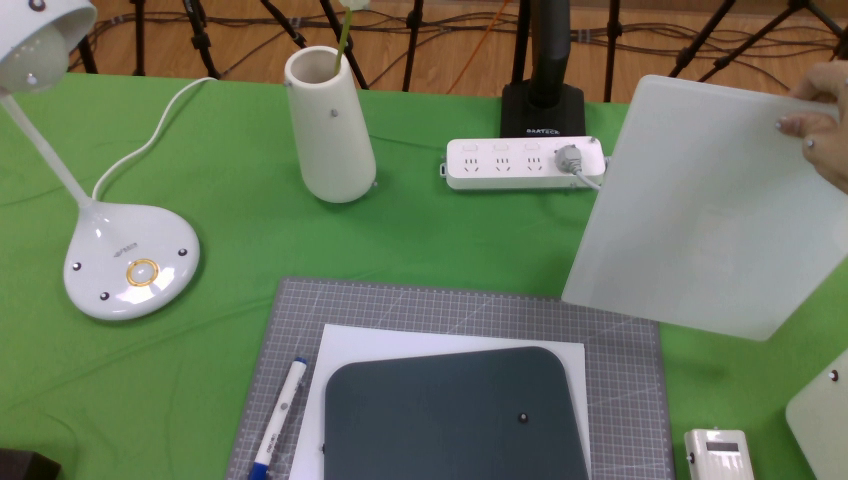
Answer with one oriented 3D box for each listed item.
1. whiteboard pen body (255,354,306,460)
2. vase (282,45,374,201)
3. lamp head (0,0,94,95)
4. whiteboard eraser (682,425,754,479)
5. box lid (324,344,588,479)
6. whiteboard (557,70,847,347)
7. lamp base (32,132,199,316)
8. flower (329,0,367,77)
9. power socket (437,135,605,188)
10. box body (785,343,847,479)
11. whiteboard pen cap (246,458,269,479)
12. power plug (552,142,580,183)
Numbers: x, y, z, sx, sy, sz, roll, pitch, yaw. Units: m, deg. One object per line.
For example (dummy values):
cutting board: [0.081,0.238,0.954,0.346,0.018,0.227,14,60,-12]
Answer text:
whiteboard pen body: [-0.153,0.185,0.633,0.017,0.017,0.140,11,59,9]
vase: [-0.119,-0.138,0.743,0.098,0.202,0.097,-1,56,2]
lamp head: [-0.329,-0.180,0.439,0.123,0.112,0.112,45,61,-16]
whiteboard eraser: [0.287,0.237,0.584,0.055,0.042,0.111,3,57,1]
box lid: [0.035,0.276,0.579,0.263,0.015,0.367,-5,57,-2]
whiteboard: [0.269,-0.054,0.569,0.217,0.308,0.143,12,53,8]
lamp base: [-0.371,-0.028,0.686,0.178,0.182,0.160,33,63,24]
flower: [-0.102,-0.174,0.669,0.044,0.363,0.038,-33,79,-28]
power socket: [0.131,-0.107,0.818,0.227,0.033,0.071,0,57,0]
box body: [0.519,0.245,0.501,0.254,0.162,0.360,-11,57,-6]
whiteboard pen cap: [-0.167,0.235,0.604,0.018,0.018,0.033,11,59,9]
power plug: [0.182,-0.095,0.782,0.035,0.053,0.072,9,63,7]
